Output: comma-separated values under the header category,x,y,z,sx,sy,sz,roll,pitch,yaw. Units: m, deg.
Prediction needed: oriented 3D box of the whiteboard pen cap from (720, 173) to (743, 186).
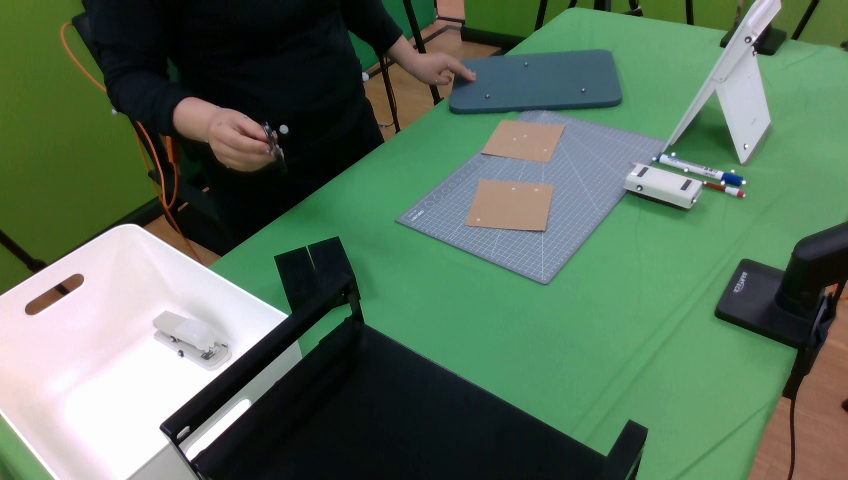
category,x,y,z,sx,sy,sz,roll,pitch,yaw
whiteboard pen cap,0.519,-0.103,1.020,0.033,0.018,0.018,23,49,30

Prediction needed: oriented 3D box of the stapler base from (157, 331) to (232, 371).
category,x,y,z,sx,sy,sz,roll,pitch,yaw
stapler base,-0.326,0.142,0.849,0.129,0.024,0.041,18,44,32

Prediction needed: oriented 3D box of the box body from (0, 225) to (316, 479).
category,x,y,z,sx,sy,sz,roll,pitch,yaw
box body,-0.339,0.162,0.728,0.361,0.161,0.255,23,48,31

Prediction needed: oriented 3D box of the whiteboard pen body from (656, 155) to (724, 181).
category,x,y,z,sx,sy,sz,roll,pitch,yaw
whiteboard pen body,0.475,-0.123,1.052,0.139,0.017,0.017,24,50,32

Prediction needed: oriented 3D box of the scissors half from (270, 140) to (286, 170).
category,x,y,z,sx,sy,sz,roll,pitch,yaw
scissors half,-0.192,-0.113,0.789,0.013,0.040,0.174,-23,8,-9

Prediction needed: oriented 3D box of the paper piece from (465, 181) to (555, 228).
category,x,y,z,sx,sy,sz,roll,pitch,yaw
paper piece,0.149,-0.062,1.035,0.137,0.009,0.136,4,37,17

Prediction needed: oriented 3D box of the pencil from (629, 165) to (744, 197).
category,x,y,z,sx,sy,sz,roll,pitch,yaw
pencil,0.447,-0.103,1.038,0.192,0.012,0.012,21,48,29

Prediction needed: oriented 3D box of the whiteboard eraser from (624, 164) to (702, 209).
category,x,y,z,sx,sy,sz,roll,pitch,yaw
whiteboard eraser,0.396,-0.086,1.003,0.112,0.042,0.056,22,47,31

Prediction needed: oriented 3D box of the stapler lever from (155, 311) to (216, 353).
category,x,y,z,sx,sy,sz,roll,pitch,yaw
stapler lever,-0.331,0.122,0.834,0.117,0.040,0.027,18,44,32

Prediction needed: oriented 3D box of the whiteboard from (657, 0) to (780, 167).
category,x,y,z,sx,sy,sz,roll,pitch,yaw
whiteboard,0.571,-0.272,1.038,0.143,0.306,0.218,37,54,17

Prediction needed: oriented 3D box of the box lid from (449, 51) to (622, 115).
category,x,y,z,sx,sy,sz,roll,pitch,yaw
box lid,0.249,-0.358,1.370,0.371,0.015,0.262,-1,40,9

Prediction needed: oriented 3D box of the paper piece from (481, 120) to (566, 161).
category,x,y,z,sx,sy,sz,roll,pitch,yaw
paper piece,0.197,-0.199,1.188,0.135,0.004,0.135,11,43,21

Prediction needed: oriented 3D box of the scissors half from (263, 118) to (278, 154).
category,x,y,z,sx,sy,sz,roll,pitch,yaw
scissors half,-0.197,-0.131,0.784,0.013,0.040,0.174,-18,23,-11
